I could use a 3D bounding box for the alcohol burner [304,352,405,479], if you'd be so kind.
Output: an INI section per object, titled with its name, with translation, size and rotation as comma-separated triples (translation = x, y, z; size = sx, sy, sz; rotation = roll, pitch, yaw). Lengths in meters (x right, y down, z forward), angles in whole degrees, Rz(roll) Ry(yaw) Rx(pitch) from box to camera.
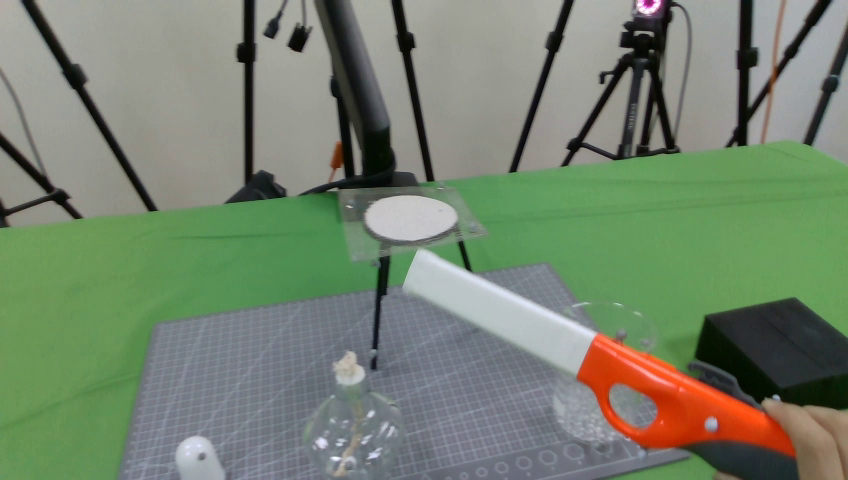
[alcohol burner]
translation = -0.053, 0.129, 0.456
size = 0.078, 0.120, 0.077
rotation = 0, 33, 1

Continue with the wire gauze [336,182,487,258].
[wire gauze]
translation = -0.016, -0.026, 0.559
size = 0.122, 0.011, 0.123
rotation = -7, 32, -11

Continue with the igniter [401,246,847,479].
[igniter]
translation = 0.103, 0.072, 0.348
size = 0.274, 0.057, 0.025
rotation = 26, 8, 26

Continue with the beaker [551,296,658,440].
[beaker]
translation = 0.141, 0.106, 0.500
size = 0.074, 0.101, 0.083
rotation = -18, 34, -25

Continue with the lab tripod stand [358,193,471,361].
[lab tripod stand]
translation = -0.010, 0.030, 0.599
size = 0.148, 0.132, 0.147
rotation = 0, 30, 0

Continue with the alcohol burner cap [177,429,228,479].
[alcohol burner cap]
translation = -0.172, 0.167, 0.467
size = 0.034, 0.048, 0.033
rotation = -1, 32, 1
